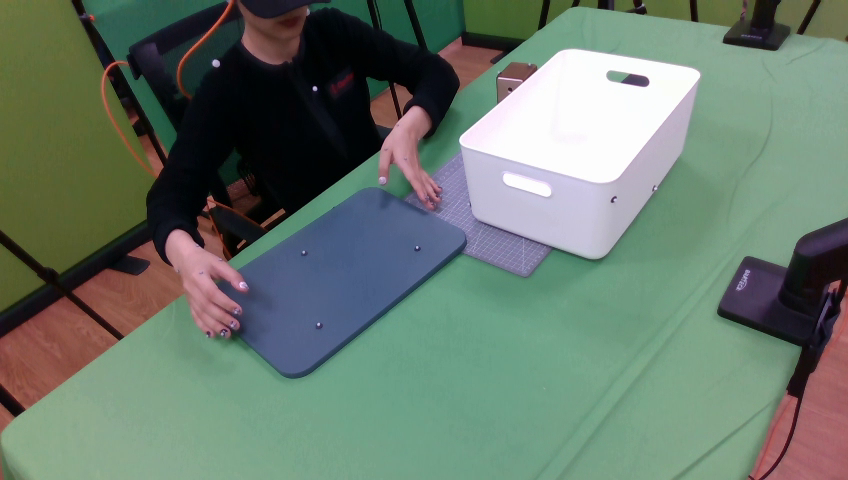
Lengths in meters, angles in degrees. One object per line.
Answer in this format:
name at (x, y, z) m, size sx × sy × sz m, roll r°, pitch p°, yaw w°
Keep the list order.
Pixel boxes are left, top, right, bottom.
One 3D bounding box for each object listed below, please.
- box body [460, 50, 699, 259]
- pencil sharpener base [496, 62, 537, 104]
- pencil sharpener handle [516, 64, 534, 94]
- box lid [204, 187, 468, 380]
box body at (0.261, -0.153, 1.001) m, size 0.252 × 0.161 × 0.365 m, roll 21°, pitch 48°, yaw 31°
pencil sharpener base at (0.190, -0.297, 1.225) m, size 0.061 × 0.107 × 0.077 m, roll 14°, pitch 45°, yaw 27°
pencil sharpener handle at (0.214, -0.337, 1.249) m, size 0.036 × 0.068 × 0.031 m, roll 12°, pitch 44°, yaw 28°
box lid at (-0.135, 0.044, 0.963) m, size 0.261 × 0.015 × 0.373 m, roll 29°, pitch 53°, yaw 36°
